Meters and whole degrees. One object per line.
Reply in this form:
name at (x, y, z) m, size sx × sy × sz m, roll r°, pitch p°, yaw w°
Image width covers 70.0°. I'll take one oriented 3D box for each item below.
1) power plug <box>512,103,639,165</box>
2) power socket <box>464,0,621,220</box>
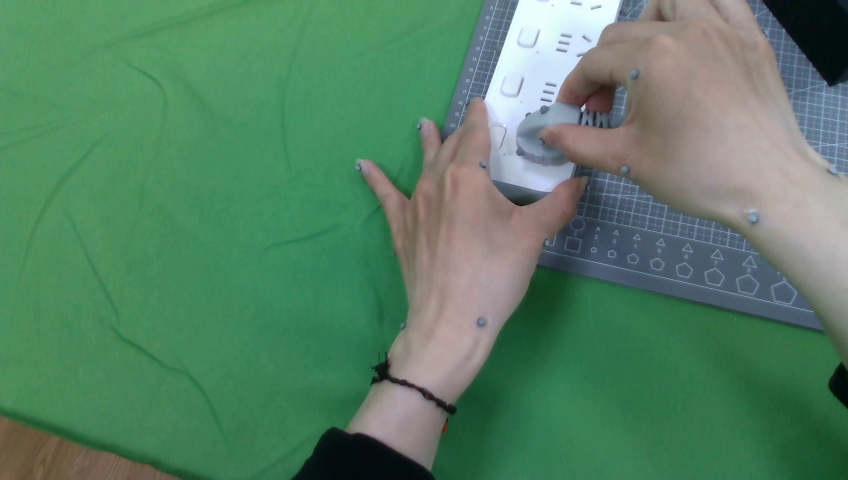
power plug at (0.089, -0.057, 0.376) m, size 0.072 × 0.053 × 0.035 m, roll 26°, pitch 72°, yaw 19°
power socket at (0.089, -0.121, 0.429) m, size 0.072 × 0.033 × 0.225 m, roll 15°, pitch 70°, yaw 11°
